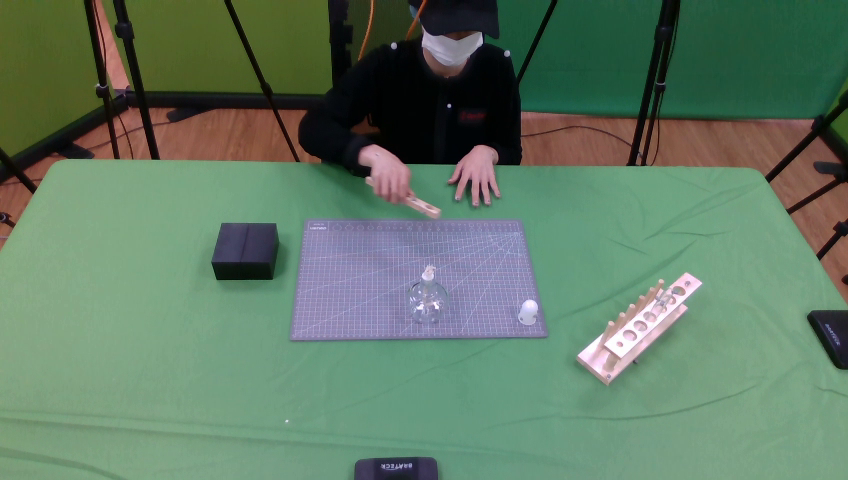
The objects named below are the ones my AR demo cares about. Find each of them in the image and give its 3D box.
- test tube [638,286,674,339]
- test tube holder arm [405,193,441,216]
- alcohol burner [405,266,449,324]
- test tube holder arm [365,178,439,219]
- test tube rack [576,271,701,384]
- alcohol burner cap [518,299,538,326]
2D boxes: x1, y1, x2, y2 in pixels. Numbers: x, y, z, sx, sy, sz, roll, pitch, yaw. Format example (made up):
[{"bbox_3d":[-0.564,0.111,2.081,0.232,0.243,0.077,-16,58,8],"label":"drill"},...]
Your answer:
[{"bbox_3d":[0.375,0.123,0.994,0.017,0.151,0.017,2,52,-2],"label":"test tube"},{"bbox_3d":[-0.005,-0.066,1.129,0.087,0.015,0.010,27,39,28],"label":"test tube holder arm"},{"bbox_3d":[0.005,0.089,1.043,0.078,0.120,0.077,1,44,-1],"label":"alcohol burner"},{"bbox_3d":[-0.044,-0.081,1.146,0.177,0.015,0.013,26,39,27],"label":"test tube holder arm"},{"bbox_3d":[0.373,0.138,1.047,0.242,0.085,0.066,-31,55,-29],"label":"test tube rack"},{"bbox_3d":[0.186,0.126,1.072,0.034,0.048,0.033,1,45,-1],"label":"alcohol burner cap"}]
